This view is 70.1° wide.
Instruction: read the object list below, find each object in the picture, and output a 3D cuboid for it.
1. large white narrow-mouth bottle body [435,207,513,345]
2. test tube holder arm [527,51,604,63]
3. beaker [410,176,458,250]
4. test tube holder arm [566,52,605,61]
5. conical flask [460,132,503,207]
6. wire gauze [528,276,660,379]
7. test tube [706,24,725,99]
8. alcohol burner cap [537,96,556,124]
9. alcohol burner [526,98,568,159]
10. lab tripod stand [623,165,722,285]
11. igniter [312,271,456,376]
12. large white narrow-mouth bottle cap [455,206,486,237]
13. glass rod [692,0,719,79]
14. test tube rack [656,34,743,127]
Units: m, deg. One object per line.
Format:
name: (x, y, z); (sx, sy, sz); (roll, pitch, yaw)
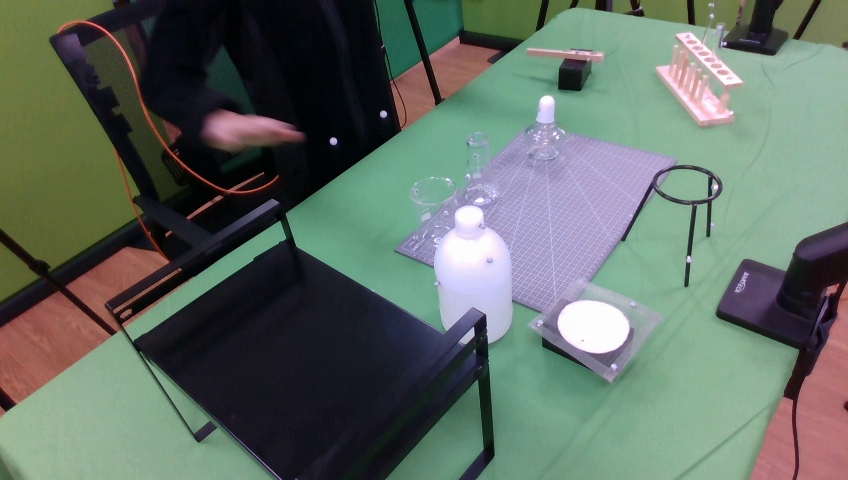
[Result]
large white narrow-mouth bottle body: (0.065, 0.041, 0.791); (0.102, 0.195, 0.101); (-4, 41, 4)
test tube holder arm: (0.311, -0.408, 1.344); (0.177, 0.015, 0.013); (14, 38, 30)
beaker: (0.022, -0.041, 0.964); (0.073, 0.101, 0.084); (28, 51, 35)
test tube holder arm: (0.352, -0.401, 1.325); (0.087, 0.015, 0.010); (15, 38, 31)
conical flask: (0.096, -0.123, 1.030); (0.075, 0.122, 0.075); (-4, 40, 4)
wire gauze: (0.214, 0.103, 0.763); (0.124, 0.011, 0.122); (30, 52, 35)
test tube: (0.564, -0.342, 1.168); (0.017, 0.151, 0.017); (-7, 40, 6)
alcohol burner cap: (0.223, -0.238, 1.095); (0.034, 0.048, 0.033); (-2, 37, 2)
alcohol burner: (0.228, -0.210, 1.118); (0.078, 0.119, 0.077); (-5, 43, 5)
lab tripod stand: (0.365, -0.030, 0.875); (0.148, 0.132, 0.147); (-6, 41, 6)
igniter: (-0.068, 0.111, 0.859); (0.274, 0.025, 0.057); (27, 61, 34)
large white narrow-mouth bottle cap: (0.057, -0.023, 0.734); (0.038, 0.024, 0.037); (-4, 40, 4)
glass rod: (0.561, -0.401, 1.214); (0.008, 0.200, 0.008); (-1, 48, 2)
test tube rack: (0.553, -0.330, 1.233); (0.067, 0.085, 0.241); (-7, 40, 2)
